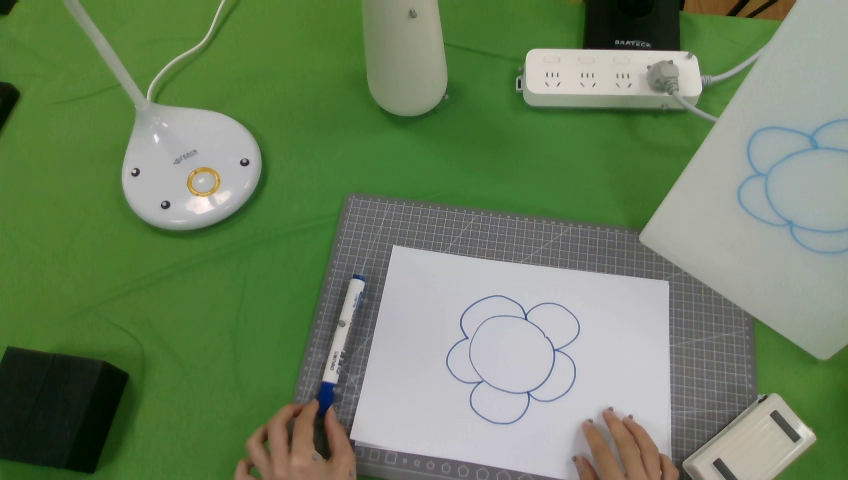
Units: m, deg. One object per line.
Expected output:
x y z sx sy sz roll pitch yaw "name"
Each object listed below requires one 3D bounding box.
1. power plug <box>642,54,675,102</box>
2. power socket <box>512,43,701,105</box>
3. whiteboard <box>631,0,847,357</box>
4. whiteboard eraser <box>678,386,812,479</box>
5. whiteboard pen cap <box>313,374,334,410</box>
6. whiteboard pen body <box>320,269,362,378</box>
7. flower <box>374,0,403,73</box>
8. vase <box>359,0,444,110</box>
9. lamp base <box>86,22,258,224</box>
0.272 -0.184 0.708 0.035 0.053 0.072 12 72 8 "power plug"
0.224 -0.204 0.743 0.227 0.033 0.071 3 66 3 "power socket"
0.381 -0.076 0.563 0.216 0.307 0.144 37 51 18 "whiteboard"
0.291 0.187 0.553 0.112 0.042 0.055 -33 67 -12 "whiteboard eraser"
-0.098 0.150 0.596 0.018 0.018 0.033 7 77 6 "whiteboard pen cap"
-0.087 0.096 0.615 0.017 0.017 0.140 11 70 7 "whiteboard pen body"
-0.013 -0.261 0.596 0.044 0.362 0.038 -32 85 -22 "flower"
-0.028 -0.236 0.675 0.098 0.201 0.097 -1 64 3 "vase"
-0.287 -0.131 0.645 0.178 0.182 0.160 39 72 21 "lamp base"
